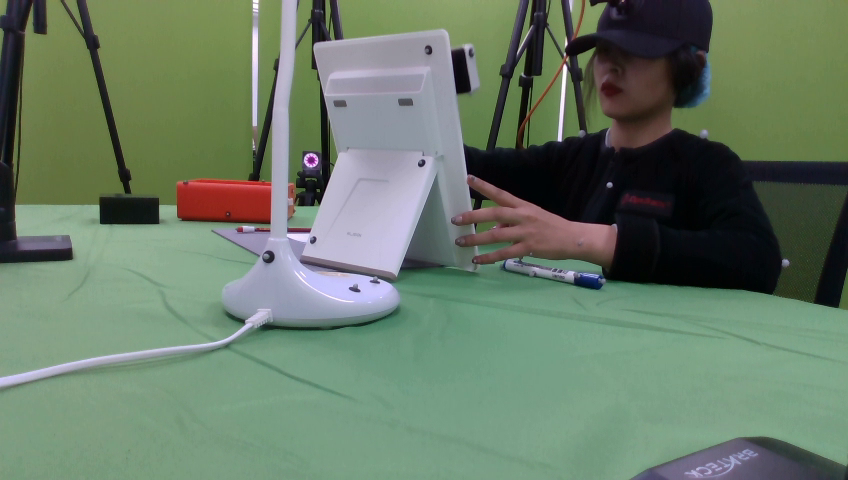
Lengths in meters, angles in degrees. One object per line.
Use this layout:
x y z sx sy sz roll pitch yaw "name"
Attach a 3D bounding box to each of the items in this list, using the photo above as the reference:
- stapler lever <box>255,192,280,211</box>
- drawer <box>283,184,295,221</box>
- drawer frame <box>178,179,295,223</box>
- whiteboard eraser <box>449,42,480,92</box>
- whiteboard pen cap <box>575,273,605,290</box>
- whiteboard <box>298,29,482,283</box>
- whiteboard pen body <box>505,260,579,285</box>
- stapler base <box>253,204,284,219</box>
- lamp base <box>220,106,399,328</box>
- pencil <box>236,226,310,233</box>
-0.337 -0.088 1.305 0.027 0.040 0.118 1 11 -1 "stapler lever"
-0.394 -0.087 1.317 0.212 0.073 0.194 1 8 -7 "drawer"
-0.397 -0.088 1.315 0.214 0.082 0.201 1 8 -7 "drawer frame"
0.012 -0.206 0.739 0.112 0.055 0.042 5 23 39 "whiteboard eraser"
0.197 0.048 0.719 0.018 0.018 0.033 -4 11 -41 "whiteboard pen cap"
-0.075 -0.082 0.741 0.216 0.305 0.144 9 29 37 "whiteboard"
0.157 0.042 0.763 0.017 0.017 0.140 -4 10 -41 "whiteboard pen body"
-0.336 -0.065 1.308 0.041 0.024 0.130 1 9 -2 "stapler base"
-0.101 -0.023 0.531 0.160 0.180 0.179 4 10 10 "lamp base"
-0.239 -0.017 1.093 0.195 0.012 0.012 1 7 -27 "pencil"
